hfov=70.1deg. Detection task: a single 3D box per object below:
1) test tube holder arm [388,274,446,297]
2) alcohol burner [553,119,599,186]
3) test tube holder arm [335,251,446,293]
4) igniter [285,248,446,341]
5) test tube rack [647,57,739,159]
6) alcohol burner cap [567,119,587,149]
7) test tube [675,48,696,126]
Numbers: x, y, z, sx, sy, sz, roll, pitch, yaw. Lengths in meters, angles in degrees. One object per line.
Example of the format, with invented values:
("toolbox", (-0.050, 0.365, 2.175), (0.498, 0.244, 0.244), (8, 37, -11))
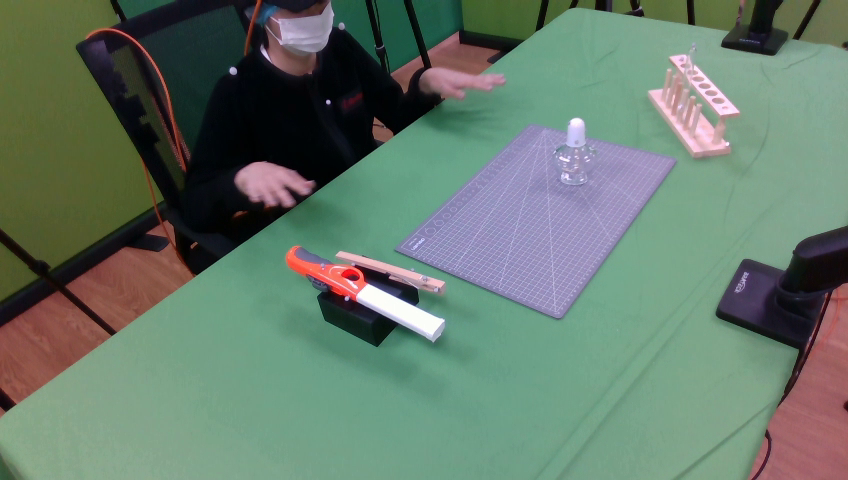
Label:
("test tube holder arm", (-0.011, 0.060, 0.838), (0.087, 0.010, 0.015), (18, 40, 24))
("alcohol burner", (0.261, -0.153, 1.042), (0.078, 0.119, 0.077), (-6, 40, 6))
("test tube holder arm", (-0.050, 0.043, 0.853), (0.177, 0.013, 0.015), (17, 39, 24))
("igniter", (-0.091, 0.069, 0.831), (0.274, 0.025, 0.057), (22, 47, 27))
("test tube rack", (0.504, -0.257, 1.153), (0.067, 0.085, 0.241), (-8, 40, 1))
("alcohol burner cap", (0.257, -0.181, 1.019), (0.034, 0.048, 0.033), (-7, 35, 5))
("test tube", (0.481, -0.279, 1.112), (0.017, 0.151, 0.017), (-5, 40, 5))
